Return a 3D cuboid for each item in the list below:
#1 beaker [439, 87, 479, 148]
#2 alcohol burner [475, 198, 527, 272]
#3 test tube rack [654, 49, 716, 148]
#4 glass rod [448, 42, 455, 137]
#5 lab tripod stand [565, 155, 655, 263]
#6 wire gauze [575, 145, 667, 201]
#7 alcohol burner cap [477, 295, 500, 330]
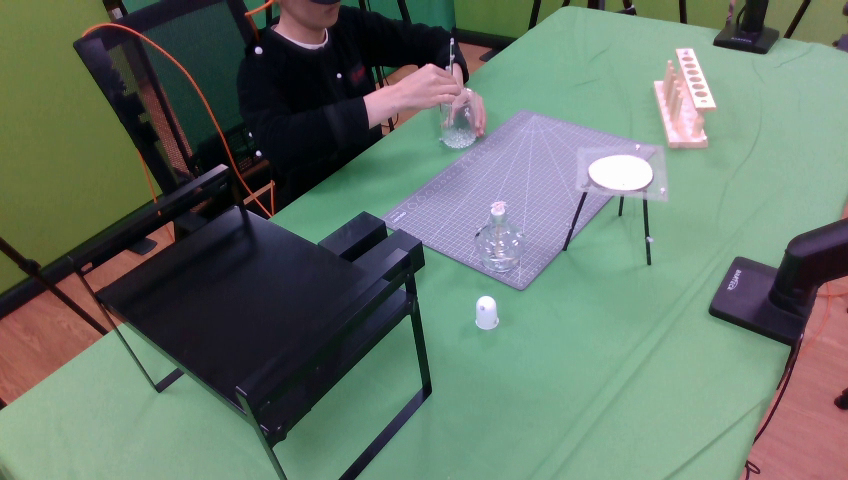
[{"bbox_3d":[0.073,-0.239,1.183,0.073,0.101,0.084,30,52,35],"label":"beaker"},{"bbox_3d":[0.113,-0.012,0.897,0.078,0.119,0.077,-6,40,6],"label":"alcohol burner"},{"bbox_3d":[0.502,-0.281,1.176,0.066,0.085,0.241,2,41,11],"label":"test tube rack"},{"bbox_3d":[0.052,-0.280,1.148,0.008,0.200,0.008,1,43,0],"label":"glass rod"},{"bbox_3d":[0.285,-0.046,0.901,0.148,0.132,0.147,-5,42,5],"label":"lab tripod stand"},{"bbox_3d":[0.279,-0.100,0.860,0.124,0.011,0.121,5,43,14],"label":"wire gauze"},{"bbox_3d":[0.089,0.097,0.833,0.034,0.048,0.033,-4,42,4],"label":"alcohol burner cap"}]
